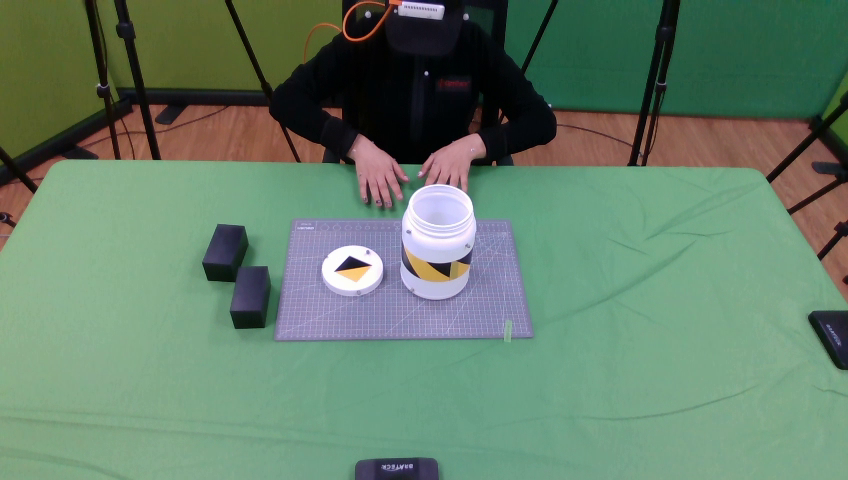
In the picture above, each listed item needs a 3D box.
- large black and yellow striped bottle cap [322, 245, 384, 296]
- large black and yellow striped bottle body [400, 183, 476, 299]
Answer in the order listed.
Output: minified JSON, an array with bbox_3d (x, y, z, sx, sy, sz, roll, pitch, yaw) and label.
[{"bbox_3d":[-0.133,0.055,1.135,0.115,0.019,0.114,2,47,-2],"label":"large black and yellow striped bottle cap"},{"bbox_3d":[0.024,0.003,1.079,0.131,0.185,0.130,2,46,-2],"label":"large black and yellow striped bottle body"}]
